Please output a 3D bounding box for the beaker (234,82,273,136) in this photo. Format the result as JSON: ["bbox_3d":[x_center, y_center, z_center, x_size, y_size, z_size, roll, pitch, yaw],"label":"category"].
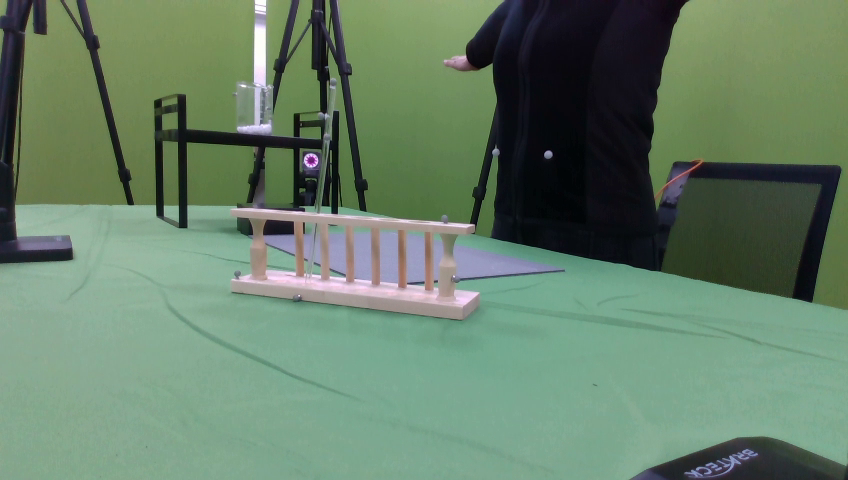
[{"bbox_3d":[-0.338,-0.260,1.208,0.083,0.100,0.074,10,11,41],"label":"beaker"}]

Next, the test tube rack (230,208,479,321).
[{"bbox_3d":[-0.069,0.017,0.598,0.242,0.085,0.067,5,8,18],"label":"test tube rack"}]

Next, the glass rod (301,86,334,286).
[{"bbox_3d":[-0.104,-0.049,0.588,0.008,0.199,0.008,9,7,-1],"label":"glass rod"}]
